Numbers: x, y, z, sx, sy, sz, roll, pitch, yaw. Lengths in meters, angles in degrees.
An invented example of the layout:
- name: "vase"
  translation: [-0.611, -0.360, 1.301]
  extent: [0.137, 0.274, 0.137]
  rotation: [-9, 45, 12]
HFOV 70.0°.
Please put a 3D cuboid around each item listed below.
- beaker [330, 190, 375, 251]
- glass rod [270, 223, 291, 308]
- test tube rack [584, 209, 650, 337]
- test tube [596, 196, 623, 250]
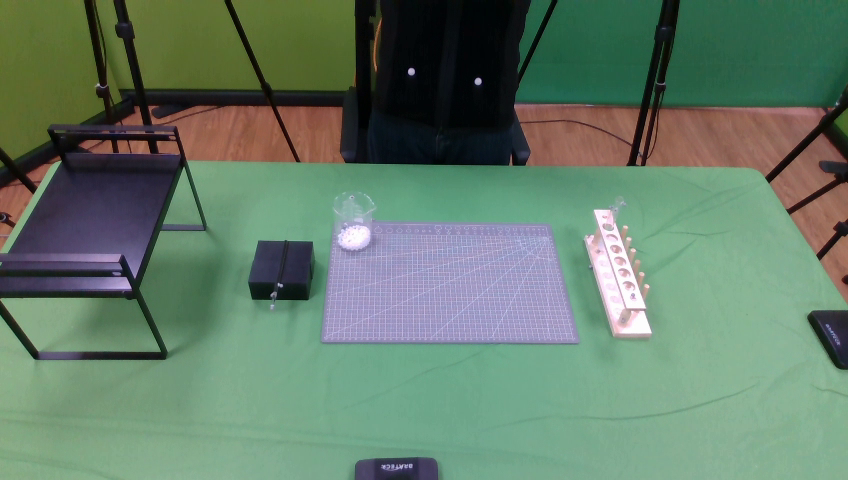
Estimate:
- name: "beaker"
  translation: [-0.136, -0.034, 1.163]
  extent: [0.084, 0.101, 0.073]
  rotation: [3, 46, -3]
- name: "glass rod"
  translation: [-0.255, 0.041, 1.082]
  extent: [0.008, 0.008, 0.198]
  rotation: [2, 46, -2]
- name: "test tube rack"
  translation: [0.365, 0.056, 1.129]
  extent: [0.067, 0.085, 0.240]
  rotation: [1, 46, -4]
- name: "test tube"
  translation: [0.348, -0.029, 1.140]
  extent: [0.017, 0.151, 0.017]
  rotation: [0, 53, 0]
